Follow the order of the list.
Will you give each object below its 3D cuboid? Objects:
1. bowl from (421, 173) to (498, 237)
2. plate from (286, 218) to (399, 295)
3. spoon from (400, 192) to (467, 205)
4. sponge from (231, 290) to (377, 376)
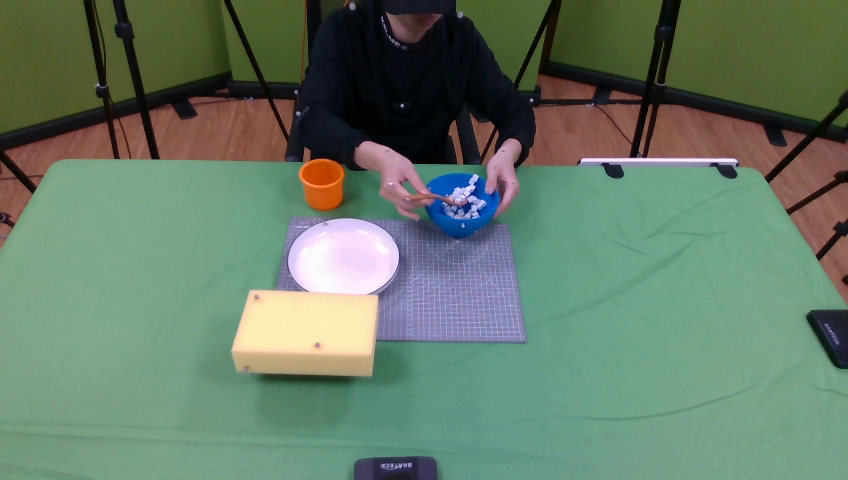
[{"bbox_3d":[0.068,-0.059,1.197,0.151,0.077,0.150,1,42,-1],"label":"bowl"},{"bbox_3d":[-0.150,0.041,1.131,0.209,0.038,0.208,2,45,-2],"label":"plate"},{"bbox_3d":[0.018,-0.081,1.130,0.041,0.021,0.194,32,18,32],"label":"spoon"},{"bbox_3d":[-0.180,0.144,0.949,0.207,0.061,0.117,2,46,-2],"label":"sponge"}]
